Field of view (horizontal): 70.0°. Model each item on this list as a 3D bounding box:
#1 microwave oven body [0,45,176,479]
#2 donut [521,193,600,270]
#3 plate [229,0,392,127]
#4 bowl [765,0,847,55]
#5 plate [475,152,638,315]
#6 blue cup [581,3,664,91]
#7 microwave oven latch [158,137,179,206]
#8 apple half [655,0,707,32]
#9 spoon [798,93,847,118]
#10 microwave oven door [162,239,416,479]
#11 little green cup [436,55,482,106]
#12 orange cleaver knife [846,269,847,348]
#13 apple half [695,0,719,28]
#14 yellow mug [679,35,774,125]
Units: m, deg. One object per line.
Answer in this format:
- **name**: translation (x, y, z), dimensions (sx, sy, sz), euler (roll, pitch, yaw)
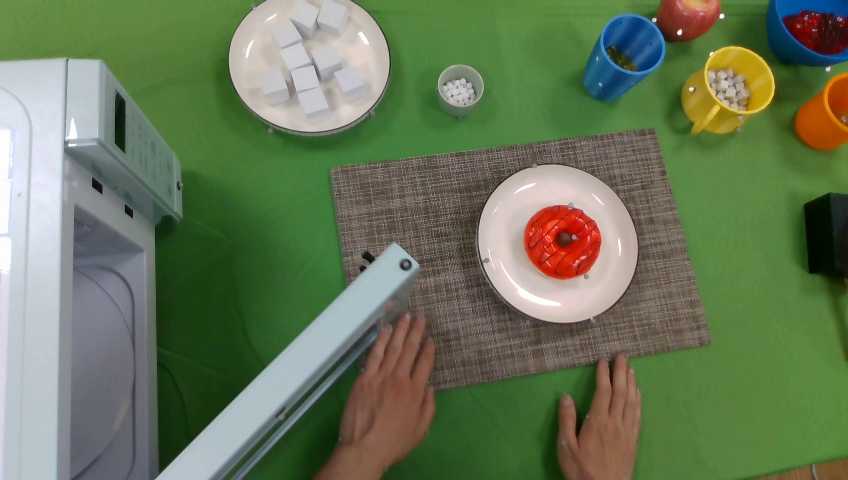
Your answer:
- **microwave oven body**: translation (-0.427, 0.081, 0.578), dimensions (0.326, 0.261, 0.439), euler (-5, 78, -7)
- **donut**: translation (0.171, -0.011, 0.759), dimensions (0.099, 0.048, 0.098), euler (1, 78, -4)
- **plate**: translation (-0.147, -0.242, 0.797), dimensions (0.208, 0.039, 0.206), euler (1, 77, -5)
- **bowl**: translation (0.546, -0.320, 0.860), dimensions (0.151, 0.077, 0.150), euler (1, 78, -5)
- **plate**: translation (0.165, -0.007, 0.769), dimensions (0.209, 0.038, 0.208), euler (1, 77, -5)
- **blue cup**: translation (0.254, -0.247, 0.804), dimensions (0.093, 0.100, 0.092), euler (1, 78, -6)
- **microwave oven latch**: translation (-0.310, -0.081, 0.725), dimensions (0.030, 0.029, 0.079), euler (-1, 78, -6)
- **apple half**: translation (0.353, -0.334, 0.847), dimensions (0.053, 0.075, 0.080), euler (-3, 80, -3)
- **spoon**: translation (0.596, -0.168, 0.794), dimensions (0.041, 0.192, 0.022), euler (-51, 130, -13)
- **microwave oven door**: translation (-0.145, 0.154, 0.584), dimensions (0.039, 0.244, 0.355), euler (42, 77, 6)
- **little green cup**: translation (0.045, -0.210, 0.808), dimensions (0.061, 0.039, 0.061), euler (1, 76, -4)
- **orange cleaver knife**: translation (0.572, 0.041, 0.778), dimensions (0.012, 0.077, 0.212), euler (6, 106, -1)
- **apple half**: translation (0.392, -0.337, 0.850), dimensions (0.033, 0.081, 0.081), euler (-3, 77, -3)
- **yellow mug**: translation (0.403, -0.207, 0.827), dimensions (0.100, 0.064, 0.130), euler (39, 78, 3)
